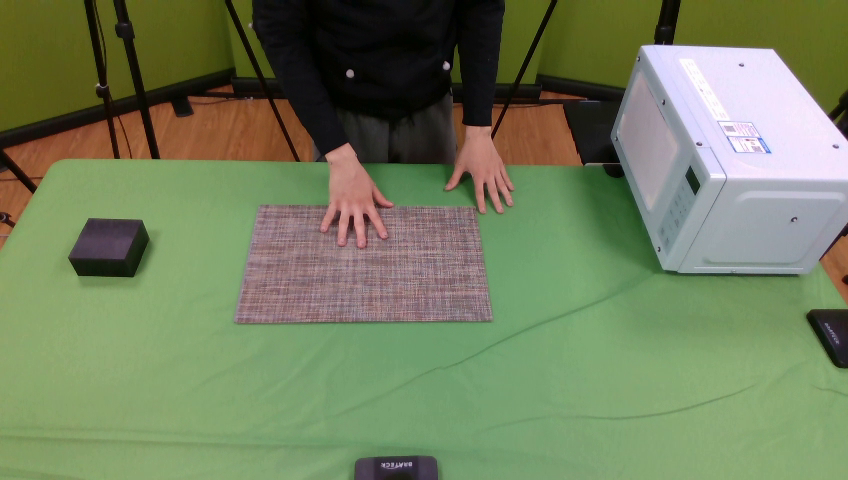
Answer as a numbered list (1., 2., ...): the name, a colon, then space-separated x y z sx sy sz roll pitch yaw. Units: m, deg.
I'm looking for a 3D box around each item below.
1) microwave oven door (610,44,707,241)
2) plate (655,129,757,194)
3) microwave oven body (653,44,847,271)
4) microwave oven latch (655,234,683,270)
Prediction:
1. microwave oven door: 0.473 -0.208 1.250 0.039 0.245 0.353 0 47 -3
2. plate: 0.600 -0.165 1.305 0.209 0.038 0.208 1 46 -1
3. microwave oven body: 0.620 -0.172 1.234 0.326 0.261 0.439 0 46 -3
4. microwave oven latch: 0.473 0.021 1.175 0.030 0.029 0.078 2 46 -1
